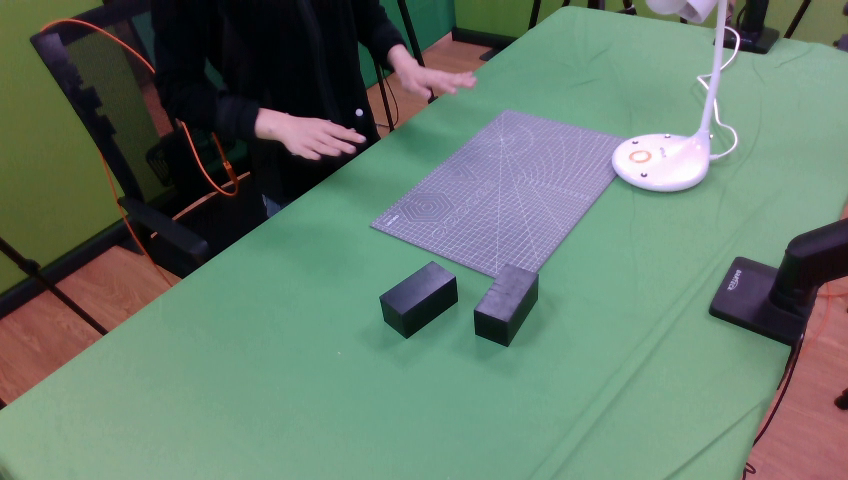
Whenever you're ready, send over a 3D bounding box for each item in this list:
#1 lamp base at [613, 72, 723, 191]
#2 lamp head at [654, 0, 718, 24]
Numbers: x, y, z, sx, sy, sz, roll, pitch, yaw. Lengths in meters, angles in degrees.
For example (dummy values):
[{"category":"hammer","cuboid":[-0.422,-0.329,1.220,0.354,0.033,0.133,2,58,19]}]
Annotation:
[{"category":"lamp base","cuboid":[0.423,-0.198,1.020,0.179,0.181,0.159,-6,42,-3]},{"category":"lamp head","cuboid":[0.356,-0.361,0.788,0.123,0.113,0.111,-51,42,13]}]
